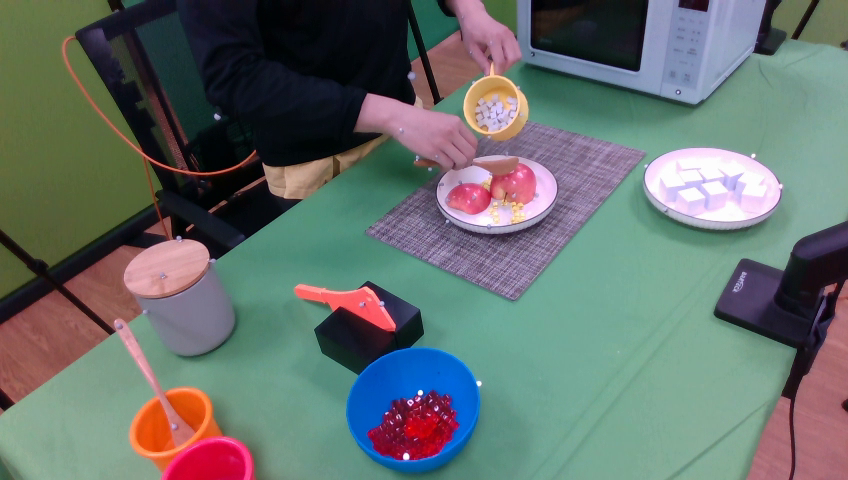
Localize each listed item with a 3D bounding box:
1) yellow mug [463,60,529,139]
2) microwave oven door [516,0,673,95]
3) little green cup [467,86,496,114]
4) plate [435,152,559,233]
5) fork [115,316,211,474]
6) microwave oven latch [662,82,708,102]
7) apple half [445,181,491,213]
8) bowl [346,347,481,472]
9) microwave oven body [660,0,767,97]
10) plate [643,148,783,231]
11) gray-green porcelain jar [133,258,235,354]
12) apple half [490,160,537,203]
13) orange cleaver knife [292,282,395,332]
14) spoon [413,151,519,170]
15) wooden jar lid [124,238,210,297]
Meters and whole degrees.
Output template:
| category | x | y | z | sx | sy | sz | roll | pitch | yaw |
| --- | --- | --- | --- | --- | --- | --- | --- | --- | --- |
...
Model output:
| category | x | y | z | sx | sy | sz | roll | pitch | yaw |
| --- | --- | --- | --- | --- | --- | --- | --- | --- | --- |
| yellow mug | 0.124 | -0.245 | 1.044 | 0.099 | 0.130 | 0.064 | -2 | -2 | 21 |
| microwave oven door | 0.344 | -0.458 | 1.257 | 0.353 | 0.245 | 0.039 | 26 | 51 | 33 |
| little green cup | 0.123 | -0.297 | 1.285 | 0.061 | 0.039 | 0.061 | -6 | 41 | 6 |
| plate | 0.123 | -0.078 | 1.026 | 0.209 | 0.038 | 0.208 | -4 | 40 | 4 |
| fork | -0.308 | 0.179 | 0.708 | 0.028 | 0.018 | 0.207 | -30 | 89 | -22 |
| microwave oven latch | 0.518 | -0.298 | 1.202 | 0.078 | 0.029 | 0.030 | 28 | 53 | 35 |
| apple half | 0.076 | -0.083 | 1.029 | 0.081 | 0.033 | 0.081 | -2 | 41 | 2 |
| bowl | -0.008 | 0.205 | 0.691 | 0.151 | 0.077 | 0.150 | -4 | 40 | 4 |
| microwave oven body | 0.474 | -0.516 | 1.313 | 0.438 | 0.261 | 0.327 | 26 | 51 | 34 |
| plate | 0.464 | -0.080 | 0.986 | 0.207 | 0.039 | 0.206 | -4 | 41 | 4 |
| gray-green porcelain jar | -0.327 | 0.086 | 0.836 | 0.106 | 0.127 | 0.105 | -4 | 41 | 4 |
| apple half | 0.154 | -0.106 | 1.030 | 0.080 | 0.053 | 0.075 | 22 | 46 | 31 |
| orange cleaver knife | -0.116 | 0.091 | 0.835 | 0.209 | 0.077 | 0.012 | 2 | 32 | 48 |
| spoon | 0.069 | -0.124 | 0.942 | 0.195 | 0.041 | 0.021 | -3 | 54 | -26 |
| wooden jar lid | -0.335 | 0.039 | 0.794 | 0.108 | 0.021 | 0.108 | -2 | 40 | 2 |
